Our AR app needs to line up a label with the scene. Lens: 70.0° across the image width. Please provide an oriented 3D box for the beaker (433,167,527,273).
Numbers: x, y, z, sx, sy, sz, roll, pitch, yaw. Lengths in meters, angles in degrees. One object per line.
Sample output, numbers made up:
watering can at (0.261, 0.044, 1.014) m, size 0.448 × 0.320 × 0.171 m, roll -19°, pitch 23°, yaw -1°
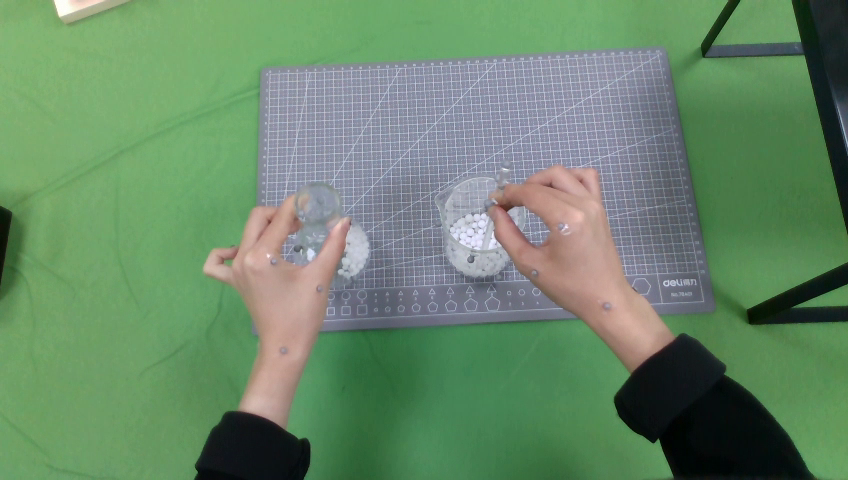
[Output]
beaker at (0.048, -0.014, 0.564) m, size 0.084 × 0.101 × 0.073 m, roll 20°, pitch 74°, yaw 8°

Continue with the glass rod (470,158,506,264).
glass rod at (0.050, -0.017, 0.502) m, size 0.008 × 0.201 × 0.008 m, roll 1°, pitch 68°, yaw -1°

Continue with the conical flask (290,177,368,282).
conical flask at (-0.089, -0.013, 0.537) m, size 0.075 × 0.122 × 0.075 m, roll 1°, pitch 70°, yaw -2°

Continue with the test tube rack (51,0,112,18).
test tube rack at (-0.323, -0.344, 0.681) m, size 0.242 × 0.085 × 0.066 m, roll -23°, pitch 74°, yaw -6°
